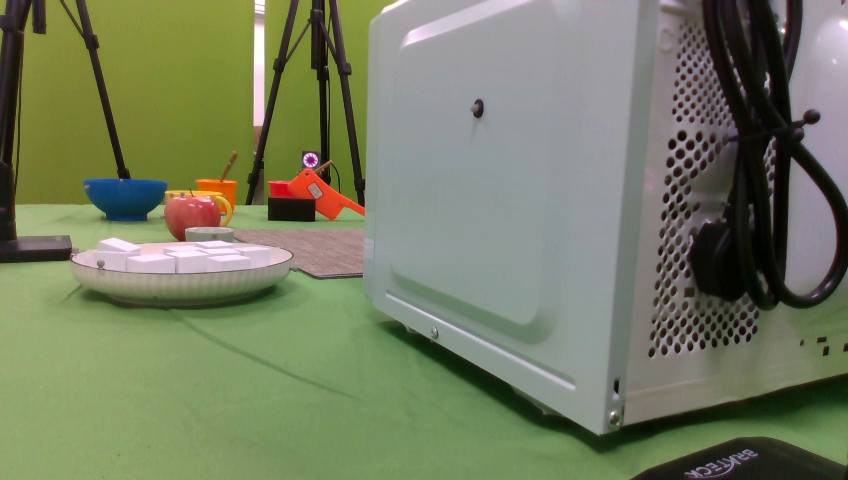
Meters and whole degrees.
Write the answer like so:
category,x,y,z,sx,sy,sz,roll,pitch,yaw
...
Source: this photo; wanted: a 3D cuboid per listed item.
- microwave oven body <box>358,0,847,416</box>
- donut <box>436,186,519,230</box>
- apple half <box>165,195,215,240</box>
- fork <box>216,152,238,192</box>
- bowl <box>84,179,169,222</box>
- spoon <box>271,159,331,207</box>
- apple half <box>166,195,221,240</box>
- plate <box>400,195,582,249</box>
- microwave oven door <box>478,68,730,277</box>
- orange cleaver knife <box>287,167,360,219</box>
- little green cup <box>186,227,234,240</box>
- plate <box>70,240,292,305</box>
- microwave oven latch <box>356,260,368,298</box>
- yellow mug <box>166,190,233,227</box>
category,x,y,z,sx,sy,sz,roll,pitch,yaw
microwave oven body,0.211,-0.047,0.474,0.444,0.260,0.324,-1,7,-28
donut,0.062,-0.036,0.711,0.099,0.048,0.099,7,8,-1
apple half,-0.377,-0.038,0.964,0.082,0.081,0.032,-4,15,-39
fork,-0.455,-0.132,1.367,0.028,0.018,0.207,-2,-35,-37
bowl,-0.584,-0.078,1.194,0.151,0.077,0.151,3,8,0
spoon,-0.308,-0.142,1.514,0.193,0.021,0.041,-41,5,9
apple half,-0.351,-0.031,0.935,0.081,0.074,0.053,1,11,-40
plate,0.074,-0.022,0.698,0.209,0.038,0.209,5,9,0
microwave oven door,0.219,-0.097,0.825,0.039,0.243,0.354,-5,10,-42
orange cleaver knife,-0.209,-0.089,1.383,0.212,0.077,0.012,31,3,-15
little green cup,-0.285,0.005,0.805,0.061,0.038,0.061,2,8,0
plate,-0.242,0.031,0.618,0.208,0.039,0.207,2,8,0
microwave oven latch,-0.019,0.033,0.529,0.079,0.029,0.030,0,7,-24
yellow mug,-0.415,-0.057,1.132,0.130,0.064,0.100,6,8,16
